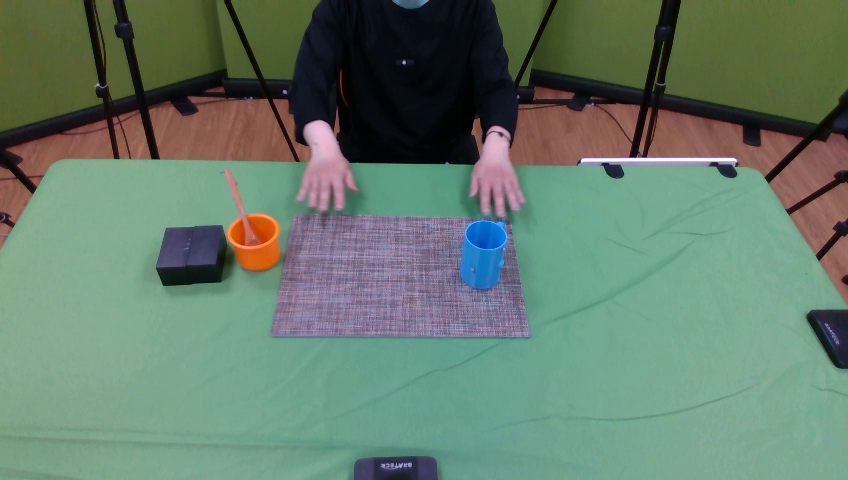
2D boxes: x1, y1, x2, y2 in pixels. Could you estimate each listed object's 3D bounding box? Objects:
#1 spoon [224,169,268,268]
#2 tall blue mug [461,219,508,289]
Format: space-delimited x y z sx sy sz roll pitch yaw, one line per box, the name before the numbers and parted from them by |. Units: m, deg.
spoon | -0.333 -0.040 1.124 0.041 0.194 0.021 -18 6 -18
tall blue mug | 0.111 0.016 1.122 0.078 0.108 0.106 6 46 4
